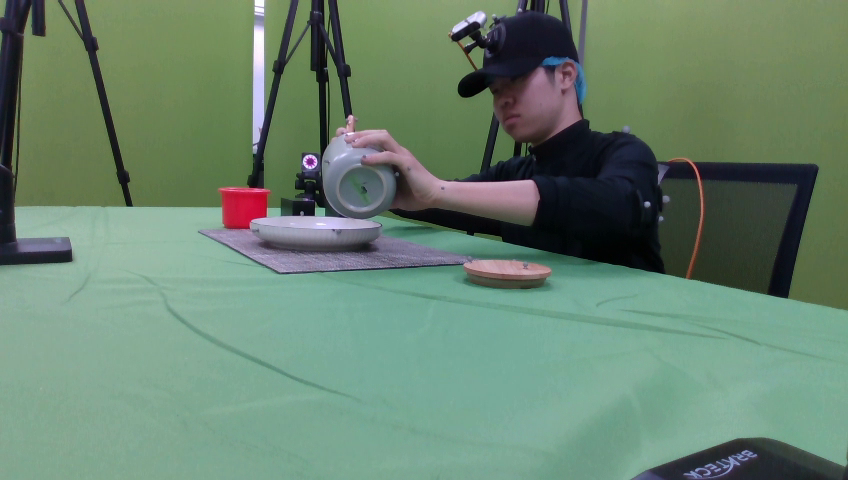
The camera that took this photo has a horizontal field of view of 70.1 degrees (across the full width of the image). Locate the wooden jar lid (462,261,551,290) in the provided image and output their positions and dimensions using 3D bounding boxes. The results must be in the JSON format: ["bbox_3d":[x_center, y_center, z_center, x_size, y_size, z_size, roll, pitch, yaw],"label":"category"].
[{"bbox_3d":[0.100,0.043,0.742,0.108,0.020,0.108,2,6,0],"label":"wooden jar lid"}]

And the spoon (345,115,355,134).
[{"bbox_3d":[-0.119,-0.149,0.947,0.042,0.021,0.193,13,33,-15],"label":"spoon"}]

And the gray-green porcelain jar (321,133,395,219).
[{"bbox_3d":[-0.099,-0.094,0.893,0.106,0.106,0.126,1,21,-11],"label":"gray-green porcelain jar"}]

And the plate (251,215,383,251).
[{"bbox_3d":[-0.170,-0.012,0.971,0.208,0.039,0.207,3,7,0],"label":"plate"}]
